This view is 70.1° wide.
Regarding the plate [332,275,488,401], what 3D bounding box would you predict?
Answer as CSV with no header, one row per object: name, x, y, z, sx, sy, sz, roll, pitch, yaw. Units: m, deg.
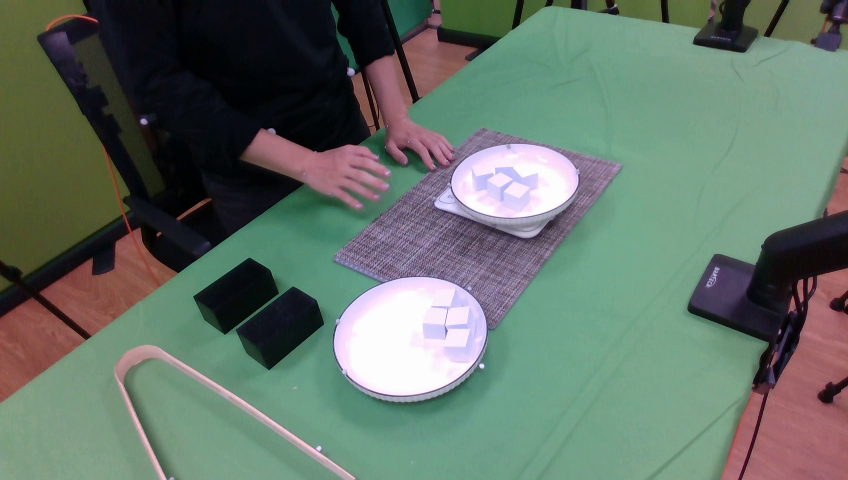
plate,-0.017,0.131,0.808,0.207,0.039,0.206,-4,41,4

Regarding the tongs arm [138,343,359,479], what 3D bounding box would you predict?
tongs arm,-0.229,0.208,0.753,0.384,0.028,0.028,21,51,29

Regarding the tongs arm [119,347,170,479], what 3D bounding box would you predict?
tongs arm,-0.291,0.251,0.707,0.051,0.026,0.381,-32,45,-26

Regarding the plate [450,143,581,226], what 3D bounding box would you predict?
plate,0.148,-0.087,0.986,0.209,0.038,0.208,-4,41,4

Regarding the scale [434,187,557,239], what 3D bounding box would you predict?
scale,0.132,-0.074,1.025,0.199,0.032,0.149,22,48,30
